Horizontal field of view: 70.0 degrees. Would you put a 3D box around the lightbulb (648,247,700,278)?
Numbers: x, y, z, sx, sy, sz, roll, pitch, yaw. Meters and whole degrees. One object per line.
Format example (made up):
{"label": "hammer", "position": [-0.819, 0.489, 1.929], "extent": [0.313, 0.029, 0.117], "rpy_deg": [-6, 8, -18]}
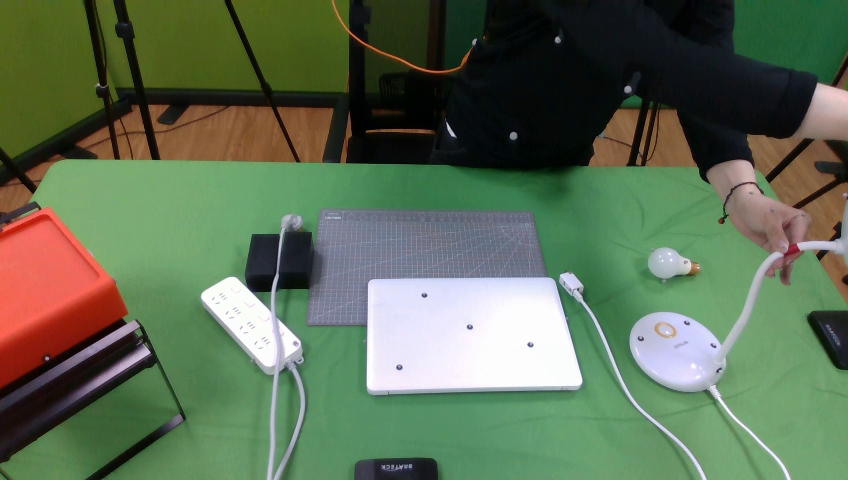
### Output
{"label": "lightbulb", "position": [0.485, 0.046, 1.169], "extent": [0.108, 0.060, 0.059], "rpy_deg": [10, 45, -15]}

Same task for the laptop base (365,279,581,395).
{"label": "laptop base", "position": [0.077, 0.163, 1.053], "extent": [0.355, 0.023, 0.234], "rpy_deg": [0, 44, -4]}

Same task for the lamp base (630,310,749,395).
{"label": "lamp base", "position": [0.447, 0.143, 0.984], "extent": [0.161, 0.181, 0.178], "rpy_deg": [-24, 55, -24]}

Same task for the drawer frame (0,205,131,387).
{"label": "drawer frame", "position": [-0.539, 0.076, 0.795], "extent": [0.200, 0.083, 0.213], "rpy_deg": [36, 54, 26]}

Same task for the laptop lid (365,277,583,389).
{"label": "laptop lid", "position": [0.078, 0.152, 1.046], "extent": [0.357, 0.013, 0.240], "rpy_deg": [1, 45, -3]}

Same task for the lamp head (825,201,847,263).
{"label": "lamp head", "position": [0.567, -0.008, 0.745], "extent": [0.112, 0.123, 0.111], "rpy_deg": [-3, 45, 3]}

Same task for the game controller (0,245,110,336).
{"label": "game controller", "position": [-0.510, 0.062, 0.830], "extent": [0.097, 0.052, 0.154], "rpy_deg": [-30, 58, -30]}

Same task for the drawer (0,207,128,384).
{"label": "drawer", "position": [-0.540, 0.074, 0.799], "extent": [0.193, 0.073, 0.211], "rpy_deg": [37, 55, 27]}

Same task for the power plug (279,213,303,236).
{"label": "power plug", "position": [-0.263, -0.021, 1.184], "extent": [0.035, 0.053, 0.072], "rpy_deg": [-1, 48, 32]}

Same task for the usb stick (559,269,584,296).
{"label": "usb stick", "position": [0.274, 0.077, 1.141], "extent": [0.027, 0.021, 0.059], "rpy_deg": [-9, 40, -15]}

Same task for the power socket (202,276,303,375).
{"label": "power socket", "position": [-0.296, 0.142, 1.033], "extent": [0.072, 0.033, 0.225], "rpy_deg": [-34, 58, -31]}
